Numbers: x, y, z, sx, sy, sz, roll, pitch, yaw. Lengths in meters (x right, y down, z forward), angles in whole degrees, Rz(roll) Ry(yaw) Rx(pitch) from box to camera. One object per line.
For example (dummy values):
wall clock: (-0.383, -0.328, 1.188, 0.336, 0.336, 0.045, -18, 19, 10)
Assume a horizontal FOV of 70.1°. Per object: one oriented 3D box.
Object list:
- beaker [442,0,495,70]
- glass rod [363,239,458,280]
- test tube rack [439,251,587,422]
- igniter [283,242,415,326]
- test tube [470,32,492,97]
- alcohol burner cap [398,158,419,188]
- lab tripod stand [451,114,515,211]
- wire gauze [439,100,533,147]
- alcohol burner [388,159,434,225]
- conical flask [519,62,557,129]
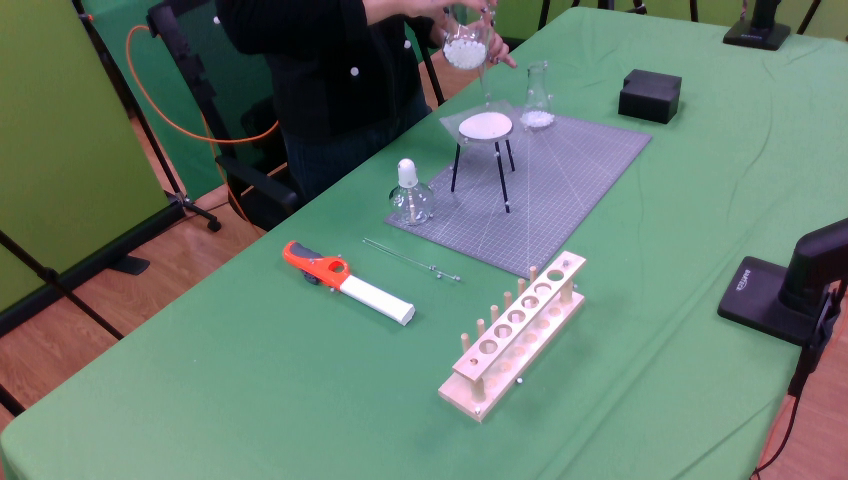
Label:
beaker: (0.069, -0.324, 0.952, 0.074, 0.084, 0.100, 3, 60, 14)
glass rod: (-0.026, 0.029, 0.966, 0.198, 0.008, 0.008, 21, 49, 35)
test tube rack: (0.118, 0.111, 0.780, 0.066, 0.085, 0.243, 26, 51, 35)
igniter: (-0.126, 0.062, 0.931, 0.274, 0.025, 0.057, 23, 61, 33)
test tube: (0.102, -0.307, 1.071, 0.017, 0.151, 0.017, -7, 60, 12)
alcohol burner cap: (-0.027, -0.111, 0.989, 0.034, 0.048, 0.033, -3, 47, 4)
lab tripod stand: (0.113, -0.140, 1.037, 0.148, 0.132, 0.147, -6, 38, 5)
wire gauze: (0.100, -0.190, 0.994, 0.125, 0.011, 0.120, -15, 39, -7)
alcohol burner: (-0.023, -0.084, 1.013, 0.078, 0.119, 0.077, -4, 38, 4)
conical flask: (0.225, -0.287, 1.198, 0.075, 0.122, 0.075, -6, 40, 5)
